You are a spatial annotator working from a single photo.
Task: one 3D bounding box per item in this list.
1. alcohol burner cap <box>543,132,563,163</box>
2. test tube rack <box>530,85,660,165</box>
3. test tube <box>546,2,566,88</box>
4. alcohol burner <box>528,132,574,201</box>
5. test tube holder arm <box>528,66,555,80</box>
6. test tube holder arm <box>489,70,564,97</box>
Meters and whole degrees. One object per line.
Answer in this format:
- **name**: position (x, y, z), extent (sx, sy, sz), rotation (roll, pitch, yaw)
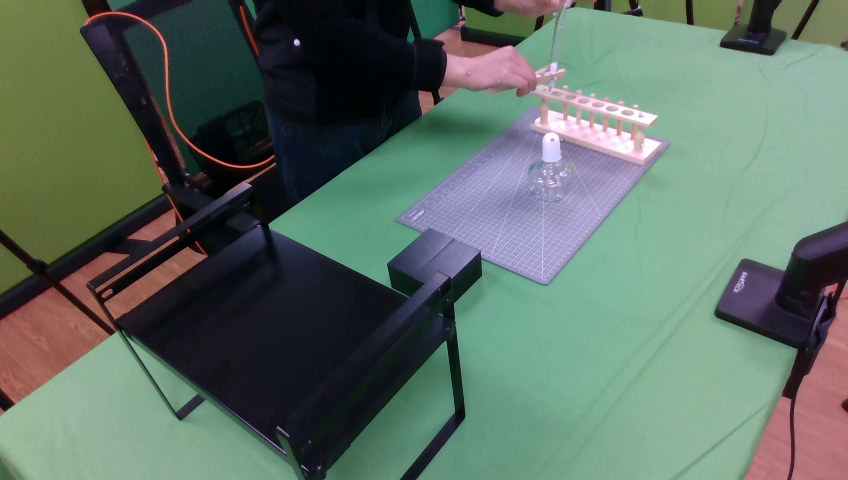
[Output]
- **alcohol burner cap**: position (0.211, -0.154, 0.994), extent (0.034, 0.048, 0.033), rotation (-7, 36, 5)
- **test tube rack**: position (0.320, -0.226, 1.140), extent (0.240, 0.085, 0.067), rotation (27, 51, 34)
- **test tube**: position (0.236, -0.345, 1.080), extent (0.017, 0.150, 0.017), rotation (1, 32, 0)
- **alcohol burner**: position (0.214, -0.126, 1.016), extent (0.078, 0.119, 0.077), rotation (-5, 39, 5)
- **test tube holder arm**: position (0.211, -0.296, 1.091), extent (0.010, 0.015, 0.088), rotation (31, 45, 24)
- **test tube holder arm**: position (0.182, -0.276, 1.062), extent (0.179, 0.015, 0.013), rotation (-24, 49, -33)
